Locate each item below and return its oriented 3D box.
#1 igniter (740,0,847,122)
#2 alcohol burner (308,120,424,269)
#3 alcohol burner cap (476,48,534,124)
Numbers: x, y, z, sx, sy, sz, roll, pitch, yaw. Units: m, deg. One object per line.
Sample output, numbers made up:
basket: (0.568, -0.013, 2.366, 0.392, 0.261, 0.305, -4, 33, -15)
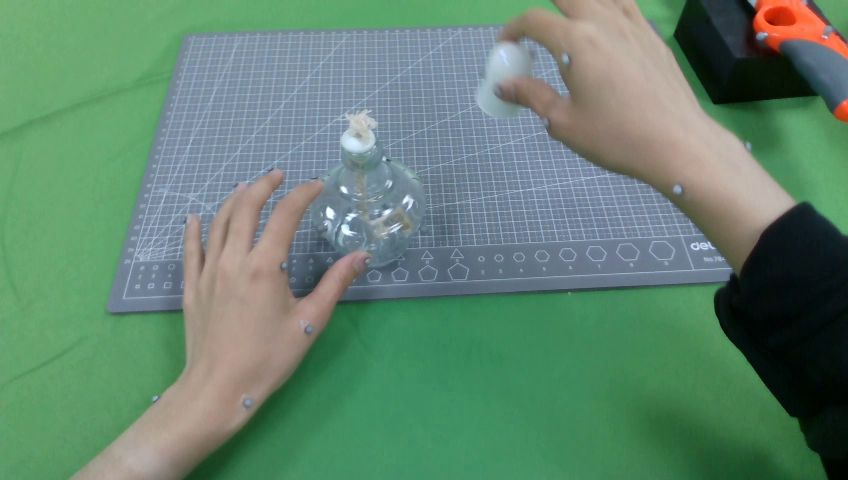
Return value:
igniter: (0.291, -0.194, 0.508, 0.057, 0.025, 0.273, -9, 53, -3)
alcohol burner: (-0.039, -0.034, 0.393, 0.078, 0.120, 0.077, 0, 56, 1)
alcohol burner cap: (0.054, -0.102, 0.392, 0.034, 0.048, 0.033, 4, 59, -6)
